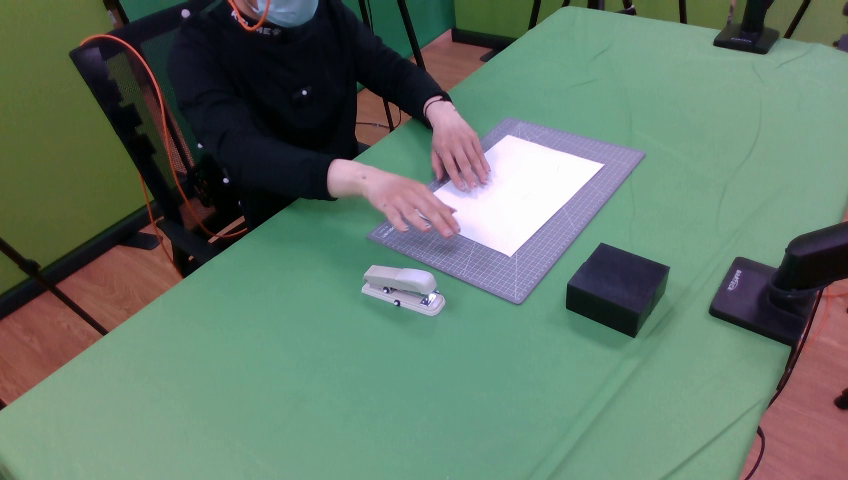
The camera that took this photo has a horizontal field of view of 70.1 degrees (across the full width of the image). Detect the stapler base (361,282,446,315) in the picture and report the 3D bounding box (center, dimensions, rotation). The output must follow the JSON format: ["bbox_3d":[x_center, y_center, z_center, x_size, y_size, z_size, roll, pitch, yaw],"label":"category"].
[{"bbox_3d":[-0.031,0.073,0.889,0.130,0.024,0.041,14,42,26],"label":"stapler base"}]

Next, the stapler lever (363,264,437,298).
[{"bbox_3d":[-0.036,0.054,0.873,0.117,0.040,0.027,14,42,26],"label":"stapler lever"}]
